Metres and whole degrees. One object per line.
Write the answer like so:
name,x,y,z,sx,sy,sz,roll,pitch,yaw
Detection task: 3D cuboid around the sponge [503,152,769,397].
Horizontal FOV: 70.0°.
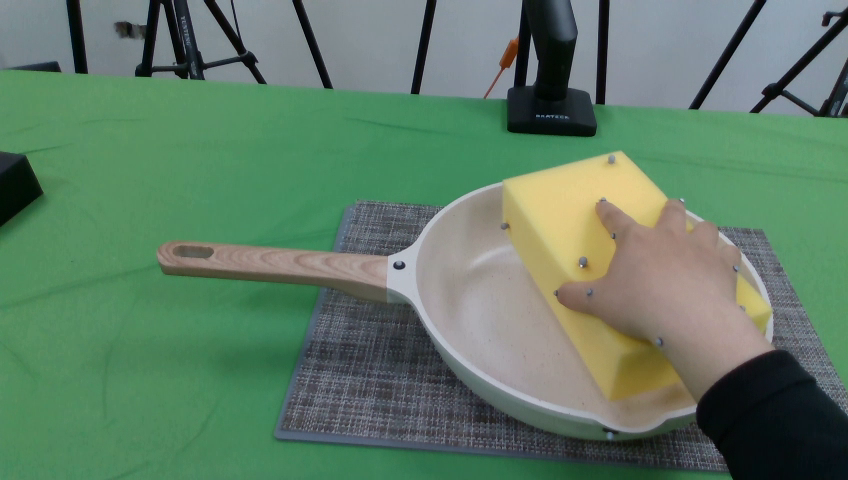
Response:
sponge,0.158,0.016,0.501,0.118,0.061,0.204,-15,43,-10

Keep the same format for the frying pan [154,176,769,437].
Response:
frying pan,0.028,0.034,0.513,0.489,0.103,0.304,7,38,-6
